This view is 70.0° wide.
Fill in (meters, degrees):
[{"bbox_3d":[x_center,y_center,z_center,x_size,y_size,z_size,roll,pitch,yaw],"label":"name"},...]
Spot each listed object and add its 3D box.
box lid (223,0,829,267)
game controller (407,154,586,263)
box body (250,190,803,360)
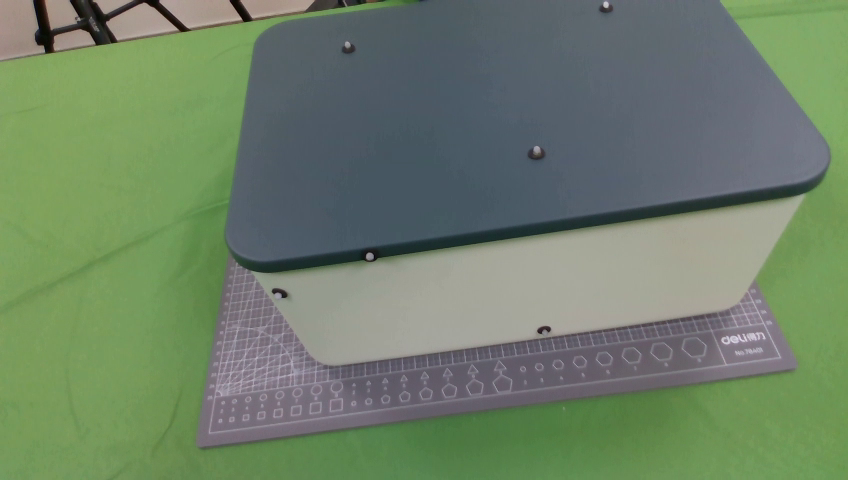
[{"bbox_3d":[0.048,-0.107,0.432,0.371,0.015,0.260,-8,51,2],"label":"box lid"},{"bbox_3d":[0.066,-0.034,0.533,0.155,0.052,0.096,6,49,12],"label":"game controller"},{"bbox_3d":[0.060,-0.060,0.489,0.364,0.162,0.251,-9,50,2],"label":"box body"}]
